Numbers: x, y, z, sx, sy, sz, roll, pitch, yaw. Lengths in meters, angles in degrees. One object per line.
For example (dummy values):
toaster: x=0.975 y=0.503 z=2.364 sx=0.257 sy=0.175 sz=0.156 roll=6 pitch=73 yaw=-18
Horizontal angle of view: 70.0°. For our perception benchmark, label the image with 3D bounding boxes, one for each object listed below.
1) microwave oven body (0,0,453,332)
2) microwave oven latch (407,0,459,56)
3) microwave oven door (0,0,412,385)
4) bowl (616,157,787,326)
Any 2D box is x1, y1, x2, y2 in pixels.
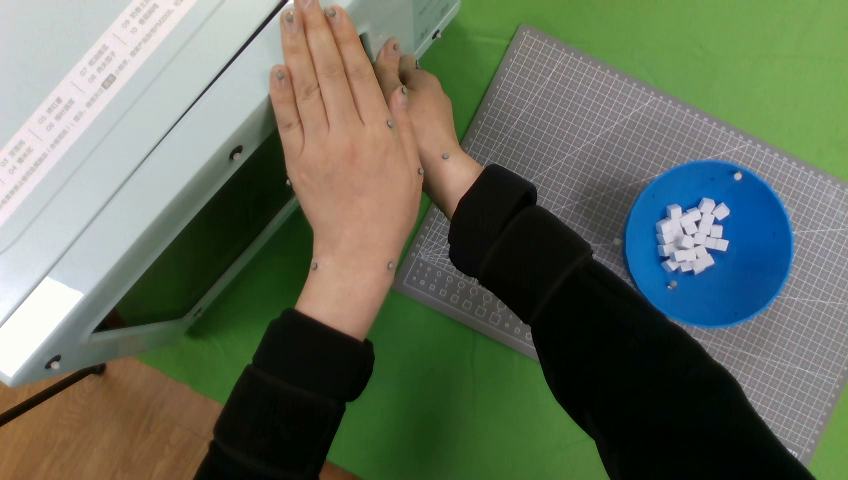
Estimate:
microwave oven body: x=-0.226 y=-0.179 z=0.481 sx=0.326 sy=0.260 sz=0.441 roll=40 pitch=89 yaw=1
microwave oven latch: x=0.001 y=-0.214 z=0.582 sx=0.030 sy=0.029 sz=0.079 roll=43 pitch=89 yaw=1
microwave oven door: x=-0.140 y=-0.050 z=0.472 sx=0.039 sy=0.244 sz=0.355 roll=41 pitch=88 yaw=2
bowl: x=0.247 y=0.003 z=0.573 sx=0.151 sy=0.077 sz=0.151 roll=0 pitch=88 yaw=0
